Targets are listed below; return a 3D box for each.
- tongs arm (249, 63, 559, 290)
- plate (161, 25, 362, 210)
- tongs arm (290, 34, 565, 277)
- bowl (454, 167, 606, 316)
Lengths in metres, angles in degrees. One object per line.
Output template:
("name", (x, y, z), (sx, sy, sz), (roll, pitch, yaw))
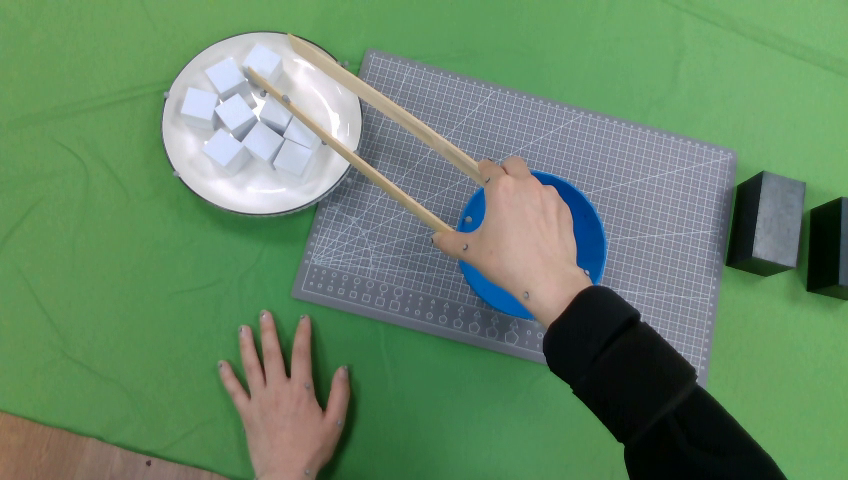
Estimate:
("tongs arm", (-0.037, -0.075, 0.557), (0.051, 0.027, 0.381), (-39, 63, -16))
("plate", (-0.170, -0.129, 0.650), (0.208, 0.039, 0.206), (1, 77, -4))
("tongs arm", (-0.013, -0.097, 0.567), (0.028, 0.028, 0.384), (-39, 62, -20))
("bowl", (0.100, 0.008, 0.624), (0.151, 0.077, 0.150), (1, 77, -6))
